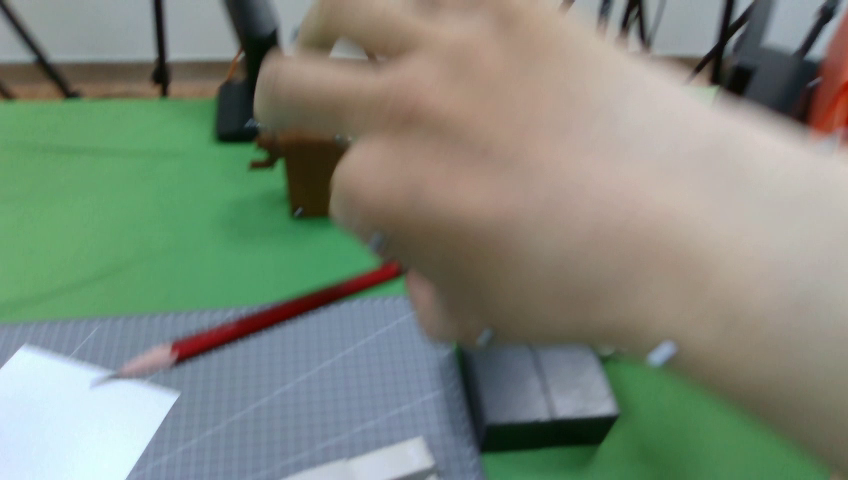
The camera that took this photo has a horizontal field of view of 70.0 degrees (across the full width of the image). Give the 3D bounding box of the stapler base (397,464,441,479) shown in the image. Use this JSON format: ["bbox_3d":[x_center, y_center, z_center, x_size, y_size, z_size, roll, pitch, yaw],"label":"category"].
[{"bbox_3d":[-0.051,0.174,0.424,0.131,0.024,0.041,-16,52,-22],"label":"stapler base"}]

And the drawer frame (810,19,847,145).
[{"bbox_3d":[0.429,-0.114,0.469,0.200,0.083,0.213,26,49,17],"label":"drawer frame"}]

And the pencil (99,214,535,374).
[{"bbox_3d":[-0.019,0.014,0.229,0.194,0.012,0.012,-18,50,-41],"label":"pencil"}]

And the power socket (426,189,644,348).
[{"bbox_3d":[0.104,0.022,0.584,0.225,0.033,0.072,33,51,23],"label":"power socket"}]

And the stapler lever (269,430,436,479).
[{"bbox_3d":[-0.048,0.156,0.407,0.118,0.040,0.026,-16,52,-22],"label":"stapler lever"}]

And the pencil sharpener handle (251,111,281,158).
[{"bbox_3d":[-0.157,-0.099,0.595,0.031,0.068,0.035,-6,70,-11],"label":"pencil sharpener handle"}]

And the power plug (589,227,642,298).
[{"bbox_3d":[0.182,0.028,0.555,0.072,0.053,0.035,-30,57,-28],"label":"power plug"}]

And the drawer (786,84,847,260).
[{"bbox_3d":[0.368,-0.043,0.399,0.193,0.074,0.211,28,49,18],"label":"drawer"}]

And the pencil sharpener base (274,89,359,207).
[{"bbox_3d":[-0.107,-0.091,0.612,0.077,0.108,0.060,-6,48,-11],"label":"pencil sharpener base"}]

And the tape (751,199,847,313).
[{"bbox_3d":[0.401,0.014,0.615,0.117,0.053,0.115,3,48,-3],"label":"tape"}]
